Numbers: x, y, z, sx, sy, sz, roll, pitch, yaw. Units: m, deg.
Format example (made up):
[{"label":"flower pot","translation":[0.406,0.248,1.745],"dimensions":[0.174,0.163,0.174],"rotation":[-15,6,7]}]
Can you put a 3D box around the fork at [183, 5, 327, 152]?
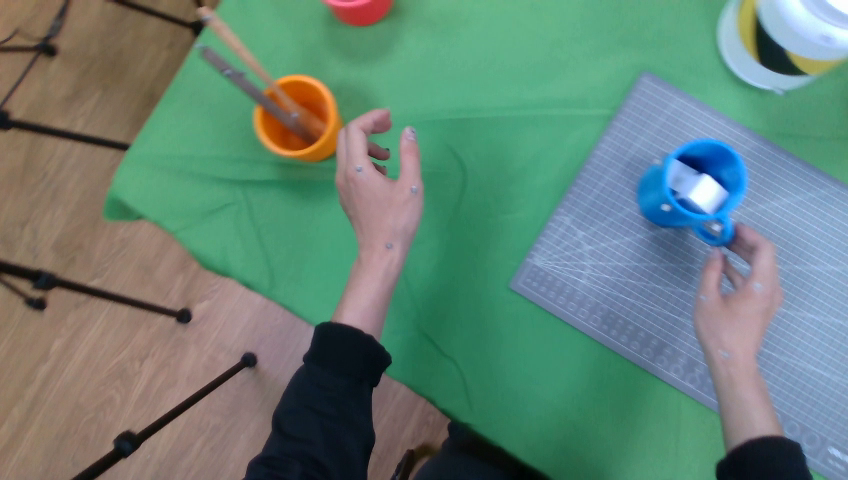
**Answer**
[{"label":"fork","translation":[-0.183,-0.174,0.672],"dimensions":[0.028,0.018,0.209],"rotation":[-43,128,1]}]

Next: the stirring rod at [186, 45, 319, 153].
[{"label":"stirring rod","translation":[-0.185,-0.153,0.675],"dimensions":[0.178,0.005,0.014],"rotation":[37,78,-36]}]

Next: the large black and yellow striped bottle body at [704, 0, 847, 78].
[{"label":"large black and yellow striped bottle body","translation":[0.383,-0.255,0.618],"dimensions":[0.131,0.184,0.130],"rotation":[0,87,4]}]

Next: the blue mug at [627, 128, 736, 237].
[{"label":"blue mug","translation":[0.282,-0.054,0.656],"dimensions":[0.082,0.106,0.116],"rotation":[-29,86,3]}]

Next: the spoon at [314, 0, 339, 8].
[{"label":"spoon","translation":[-0.065,-0.317,0.672],"dimensions":[0.193,0.022,0.041],"rotation":[-20,81,47]}]

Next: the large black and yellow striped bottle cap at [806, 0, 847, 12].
[{"label":"large black and yellow striped bottle cap","translation":[0.377,-0.261,0.535],"dimensions":[0.115,0.019,0.115],"rotation":[0,89,4]}]
